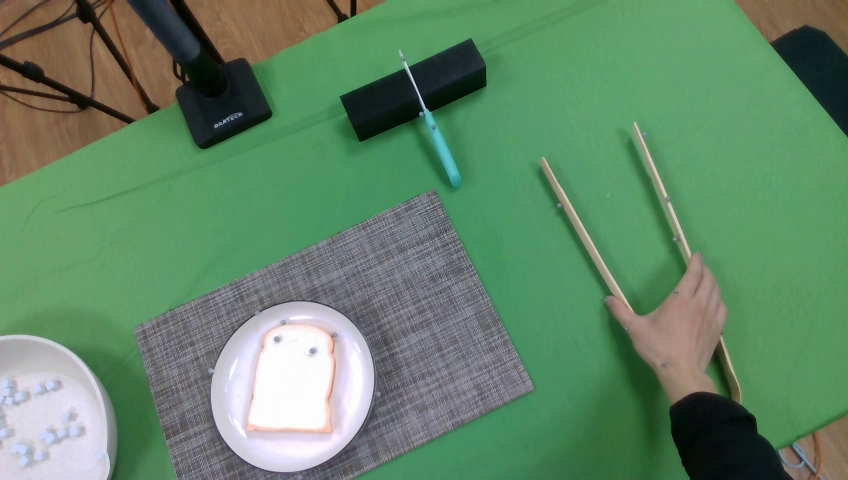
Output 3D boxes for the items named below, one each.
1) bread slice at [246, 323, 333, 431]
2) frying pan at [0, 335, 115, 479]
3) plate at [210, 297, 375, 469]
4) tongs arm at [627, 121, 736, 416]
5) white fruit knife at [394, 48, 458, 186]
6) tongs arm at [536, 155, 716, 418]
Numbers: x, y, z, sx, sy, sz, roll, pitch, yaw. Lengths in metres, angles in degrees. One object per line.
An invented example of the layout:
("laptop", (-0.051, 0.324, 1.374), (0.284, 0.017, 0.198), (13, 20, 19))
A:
("bread slice", (-0.166, 0.171, 0.761), (0.107, 0.018, 0.133), (-3, 74, 5))
("frying pan", (-0.533, 0.359, 0.707), (0.306, 0.103, 0.484), (6, 64, 9))
("plate", (-0.161, 0.176, 0.757), (0.207, 0.039, 0.206), (-2, 72, 6))
("tongs arm", (0.308, 0.025, 0.761), (0.051, 0.027, 0.382), (-17, 72, 1))
("white fruit knife", (-0.001, -0.171, 0.834), (0.016, 0.027, 0.207), (-24, 85, -3))
("tongs arm", (0.241, 0.050, 0.764), (0.028, 0.028, 0.384), (-26, 72, -5))
